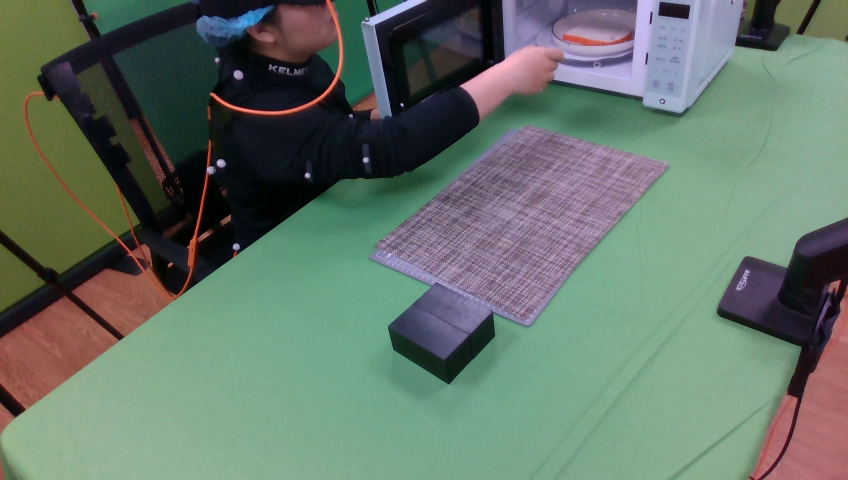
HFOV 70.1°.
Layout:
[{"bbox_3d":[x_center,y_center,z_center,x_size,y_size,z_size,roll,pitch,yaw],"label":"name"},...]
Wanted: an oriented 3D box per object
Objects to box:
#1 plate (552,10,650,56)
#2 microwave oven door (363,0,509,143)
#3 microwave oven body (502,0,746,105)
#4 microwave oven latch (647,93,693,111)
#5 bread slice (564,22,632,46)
[{"bbox_3d":[0.390,-0.454,1.339,0.209,0.038,0.208,-5,39,5],"label":"plate"},{"bbox_3d":[0.040,-0.386,1.238,0.357,0.245,0.039,-37,47,-28],"label":"microwave oven door"},{"bbox_3d":[0.416,-0.486,1.290,0.438,0.261,0.327,21,50,33],"label":"microwave oven body"},{"bbox_3d":[0.477,-0.273,1.177,0.078,0.029,0.030,22,50,33],"label":"microwave oven latch"},{"bbox_3d":[0.393,-0.453,1.343,0.105,0.019,0.130,-36,43,-26],"label":"bread slice"}]
